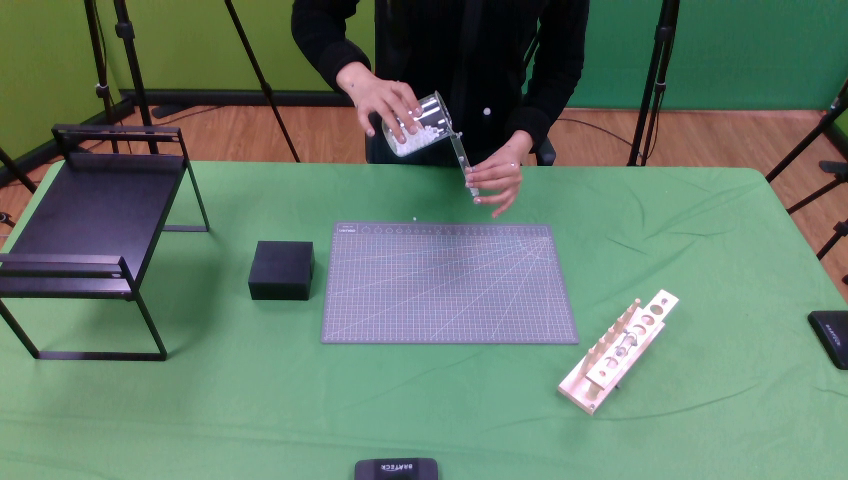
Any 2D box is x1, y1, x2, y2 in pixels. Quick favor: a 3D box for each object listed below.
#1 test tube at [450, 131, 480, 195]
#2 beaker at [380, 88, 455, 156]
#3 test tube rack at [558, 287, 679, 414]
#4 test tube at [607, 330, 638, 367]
[{"bbox_3d":[0.072,-0.128,1.036,0.017,0.151,0.017,-11,50,14],"label":"test tube"},{"bbox_3d":[-0.010,-0.181,0.953,0.100,0.084,0.073,-23,56,14],"label":"beaker"},{"bbox_3d":[0.326,0.170,1.009,0.066,0.085,0.242,36,54,27],"label":"test tube rack"},{"bbox_3d":[0.293,0.184,0.925,0.017,0.151,0.017,4,49,-4],"label":"test tube"}]
